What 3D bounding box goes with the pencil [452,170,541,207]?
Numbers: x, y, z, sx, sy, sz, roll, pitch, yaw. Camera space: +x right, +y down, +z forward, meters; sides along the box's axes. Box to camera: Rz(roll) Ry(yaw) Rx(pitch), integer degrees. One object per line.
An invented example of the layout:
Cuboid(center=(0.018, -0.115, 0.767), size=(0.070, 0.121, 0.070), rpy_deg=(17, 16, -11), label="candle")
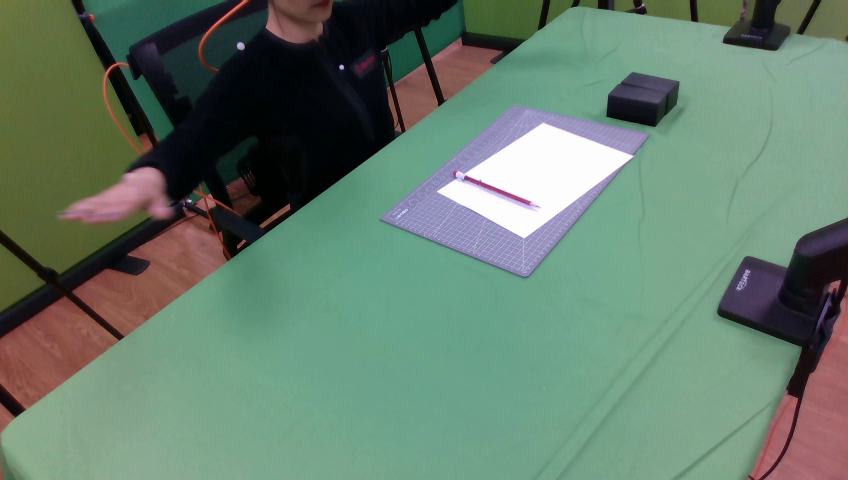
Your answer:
Cuboid(center=(0.125, -0.091, 1.069), size=(0.192, 0.012, 0.012), rpy_deg=(26, 52, 35), label="pencil")
